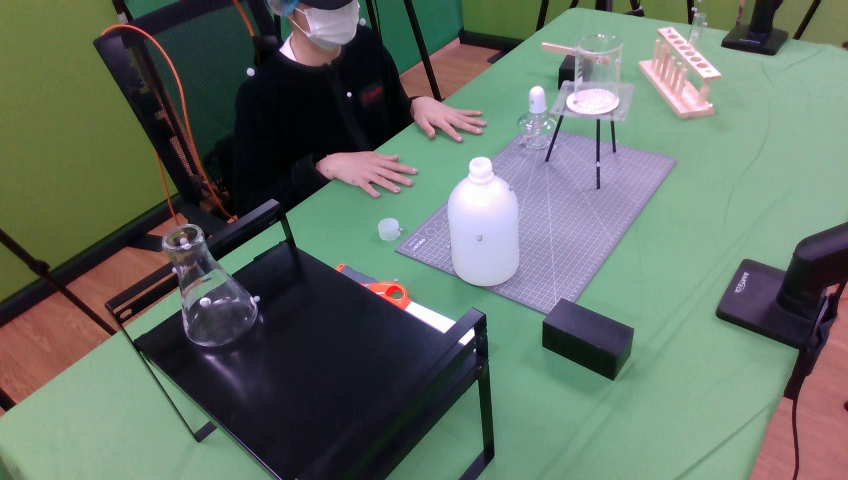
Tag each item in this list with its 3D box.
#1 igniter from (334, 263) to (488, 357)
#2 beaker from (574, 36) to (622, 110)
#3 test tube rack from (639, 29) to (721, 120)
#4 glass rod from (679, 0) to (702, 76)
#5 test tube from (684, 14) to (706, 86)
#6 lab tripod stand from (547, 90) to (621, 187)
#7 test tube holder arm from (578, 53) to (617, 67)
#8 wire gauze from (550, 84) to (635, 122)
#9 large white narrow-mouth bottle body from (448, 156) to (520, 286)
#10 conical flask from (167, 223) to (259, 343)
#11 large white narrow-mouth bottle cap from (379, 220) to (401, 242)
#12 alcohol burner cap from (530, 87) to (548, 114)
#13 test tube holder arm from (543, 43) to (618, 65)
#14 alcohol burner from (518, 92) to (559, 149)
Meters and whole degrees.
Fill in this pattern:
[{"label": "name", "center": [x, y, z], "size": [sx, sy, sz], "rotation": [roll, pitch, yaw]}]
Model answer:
[{"label": "igniter", "center": [-0.030, 0.095, 0.872], "size": [0.274, 0.025, 0.057], "rotation": [23, 60, 31]}, {"label": "beaker", "center": [0.285, -0.273, 0.990], "size": [0.073, 0.101, 0.084], "rotation": [15, 46, 27]}, {"label": "test tube rack", "center": [0.527, -0.351, 1.262], "size": [0.067, 0.085, 0.241], "rotation": [-8, 40, 1]}, {"label": "glass rod", "center": [0.543, -0.417, 1.233], "size": [0.008, 0.200, 0.008], "rotation": [1, 39, 0]}, {"label": "test tube", "center": [0.540, -0.378, 1.215], "size": [0.017, 0.151, 0.017], "rotation": [-2, 44, 3]}, {"label": "lab tripod stand", "center": [0.289, -0.184, 1.062], "size": [0.148, 0.132, 0.147], "rotation": [-6, 41, 6]}, {"label": "test tube holder arm", "center": [0.376, -0.393, 1.314], "size": [0.087, 0.015, 0.010], "rotation": [25, 50, 32]}, {"label": "wire gauze", "center": [0.285, -0.234, 1.021], "size": [0.124, 0.011, 0.121], "rotation": [8, 41, 23]}, {"label": "large white narrow-mouth bottle body", "center": [0.086, -0.032, 0.869], "size": [0.102, 0.195, 0.101], "rotation": [-4, 40, 4]}, {"label": "conical flask", "center": [-0.220, 0.041, 0.613], "size": [0.075, 0.122, 0.075], "rotation": [-5, 40, 4]}, {"label": "large white narrow-mouth bottle cap", "center": [-0.057, -0.015, 1.011], "size": [0.038, 0.024, 0.037], "rotation": [-4, 40, 4]}, {"label": "alcohol burner cap", "center": [0.212, -0.262, 1.126], "size": [0.034, 0.048, 0.033], "rotation": [-9, 37, 7]}, {"label": "test tube holder arm", "center": [0.345, -0.413, 1.341], "size": [0.177, 0.015, 0.013], "rotation": [25, 50, 32]}, {"label": "alcohol burner", "center": [0.218, -0.234, 1.149], "size": [0.078, 0.119, 0.077], "rotation": [-5, 43, 5]}]
